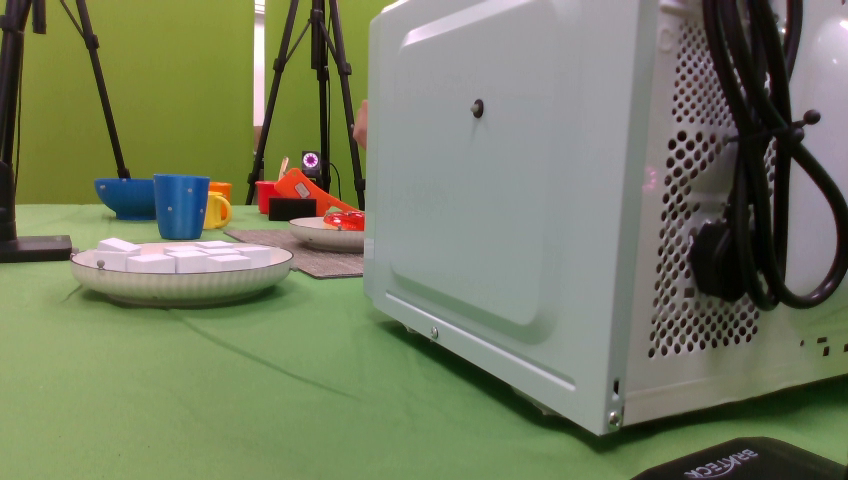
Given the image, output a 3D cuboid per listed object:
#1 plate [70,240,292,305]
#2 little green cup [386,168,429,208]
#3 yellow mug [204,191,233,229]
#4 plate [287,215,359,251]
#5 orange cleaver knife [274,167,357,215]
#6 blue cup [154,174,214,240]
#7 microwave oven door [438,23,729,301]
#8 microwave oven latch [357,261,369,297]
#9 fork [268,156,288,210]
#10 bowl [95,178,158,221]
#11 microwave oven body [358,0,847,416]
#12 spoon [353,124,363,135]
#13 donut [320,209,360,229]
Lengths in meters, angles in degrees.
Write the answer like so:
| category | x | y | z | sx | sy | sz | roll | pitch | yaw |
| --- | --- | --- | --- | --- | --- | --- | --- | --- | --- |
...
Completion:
| category | x | y | z | sx | sy | sz | roll | pitch | yaw |
| --- | --- | --- | --- | --- | --- | --- | --- | --- | --- |
| plate | -0.242 | 0.031 | 0.618 | 0.208 | 0.039 | 0.207 | 2 | 8 | 0 |
| little green cup | -0.023 | -0.079 | 0.934 | 0.061 | 0.038 | 0.061 | -29 | -8 | -4 |
| yellow mug | -0.415 | -0.057 | 1.132 | 0.130 | 0.064 | 0.100 | 6 | 8 | 16 |
| plate | -0.112 | -0.012 | 0.960 | 0.209 | 0.038 | 0.209 | 3 | 8 | 0 |
| orange cleaver knife | -0.238 | -0.090 | 1.381 | 0.212 | 0.077 | 0.012 | 31 | 0 | -19 |
| blue cup | -0.390 | -0.053 | 0.978 | 0.093 | 0.100 | 0.092 | 3 | 6 | 0 |
| microwave oven door | 0.181 | -0.072 | 0.620 | 0.358 | 0.243 | 0.039 | -2 | 8 | -29 |
| microwave oven latch | -0.019 | 0.033 | 0.531 | 0.079 | 0.029 | 0.030 | -1 | 7 | -28 |
| fork | -0.360 | -0.144 | 1.508 | 0.028 | 0.018 | 0.207 | 2 | 49 | 0 |
| bowl | -0.576 | -0.081 | 1.217 | 0.151 | 0.077 | 0.151 | 3 | 8 | 0 |
| microwave oven body | 0.211 | -0.047 | 0.474 | 0.444 | 0.260 | 0.324 | -1 | 7 | -28 |
| spoon | -0.078 | -0.150 | 1.002 | 0.042 | 0.021 | 0.193 | -6 | 41 | -27 |
| donut | -0.115 | -0.023 | 0.961 | 0.099 | 0.048 | 0.099 | 5 | 8 | 0 |
